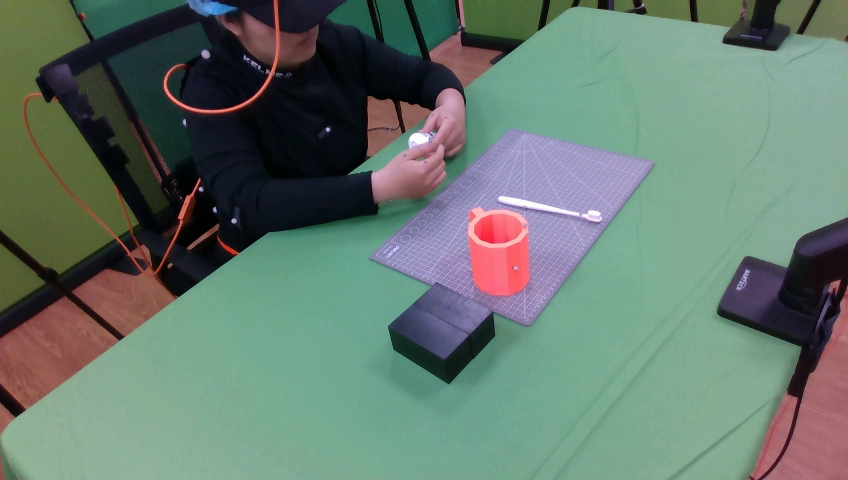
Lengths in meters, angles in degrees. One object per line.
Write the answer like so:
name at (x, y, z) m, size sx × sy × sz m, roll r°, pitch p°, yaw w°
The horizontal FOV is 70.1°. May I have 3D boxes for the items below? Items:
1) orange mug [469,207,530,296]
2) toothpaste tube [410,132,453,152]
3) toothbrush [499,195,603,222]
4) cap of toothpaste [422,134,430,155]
orange mug at (0.104, 0.008, 0.894) m, size 0.084 × 0.101 × 0.125 m, roll -22°, pitch 46°, yaw -14°
toothpaste tube at (0.011, -0.188, 1.136) m, size 0.055 × 0.034 × 0.165 m, roll -15°, pitch 8°, yaw 20°
toothbrush at (0.209, -0.055, 1.011) m, size 0.180 × 0.017 × 0.014 m, roll 14°, pitch 61°, yaw 27°
cap of toothpaste at (0.004, -0.166, 1.048) m, size 0.011 × 0.037 × 0.037 m, roll 5°, pitch 42°, yaw 1°
